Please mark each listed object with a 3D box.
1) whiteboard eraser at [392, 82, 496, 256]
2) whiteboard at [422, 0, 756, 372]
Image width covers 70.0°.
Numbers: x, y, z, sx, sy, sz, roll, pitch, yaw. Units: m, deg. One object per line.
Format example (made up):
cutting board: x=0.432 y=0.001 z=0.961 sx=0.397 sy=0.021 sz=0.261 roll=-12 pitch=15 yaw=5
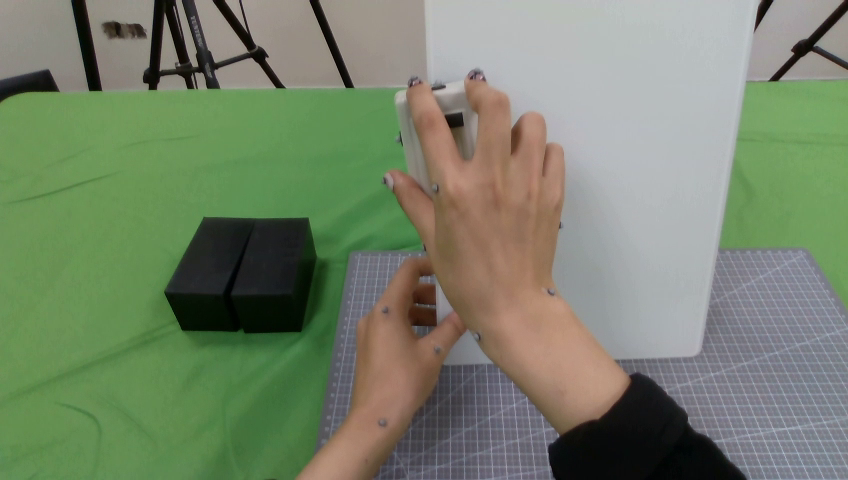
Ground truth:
whiteboard eraser: x=0.015 y=-0.047 z=0.413 sx=0.055 sy=0.113 sz=0.041 roll=-10 pitch=22 yaw=3
whiteboard: x=0.113 y=-0.063 z=0.500 sx=0.217 sy=0.307 sz=0.143 roll=-2 pitch=23 yaw=1
